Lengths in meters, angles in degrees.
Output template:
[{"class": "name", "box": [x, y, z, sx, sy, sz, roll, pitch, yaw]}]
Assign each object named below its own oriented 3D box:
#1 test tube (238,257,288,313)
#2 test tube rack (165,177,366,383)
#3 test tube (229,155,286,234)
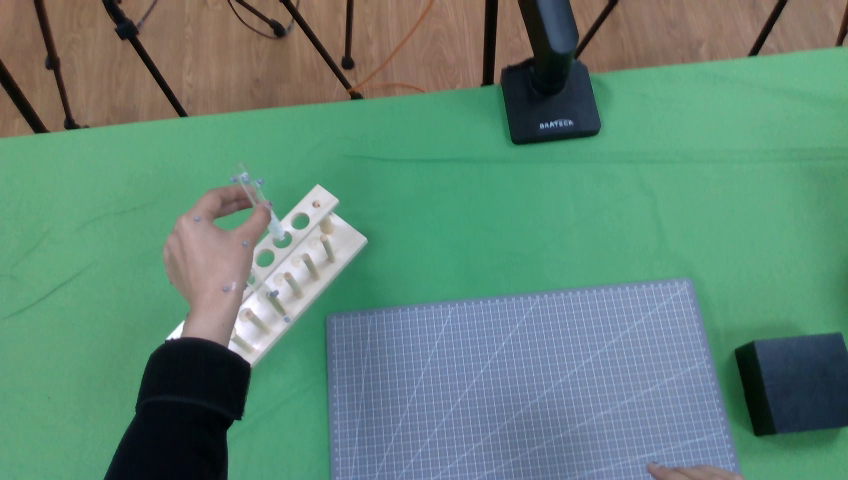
[{"class": "test tube", "box": [-0.174, 0.051, 0.663, 0.017, 0.151, 0.017, -1, 67, 2]}, {"class": "test tube rack", "box": [-0.177, 0.047, 0.712, 0.066, 0.086, 0.242, 37, 75, 14]}, {"class": "test tube", "box": [-0.168, -0.042, 0.624, 0.017, 0.151, 0.017, -1, 66, 3]}]
